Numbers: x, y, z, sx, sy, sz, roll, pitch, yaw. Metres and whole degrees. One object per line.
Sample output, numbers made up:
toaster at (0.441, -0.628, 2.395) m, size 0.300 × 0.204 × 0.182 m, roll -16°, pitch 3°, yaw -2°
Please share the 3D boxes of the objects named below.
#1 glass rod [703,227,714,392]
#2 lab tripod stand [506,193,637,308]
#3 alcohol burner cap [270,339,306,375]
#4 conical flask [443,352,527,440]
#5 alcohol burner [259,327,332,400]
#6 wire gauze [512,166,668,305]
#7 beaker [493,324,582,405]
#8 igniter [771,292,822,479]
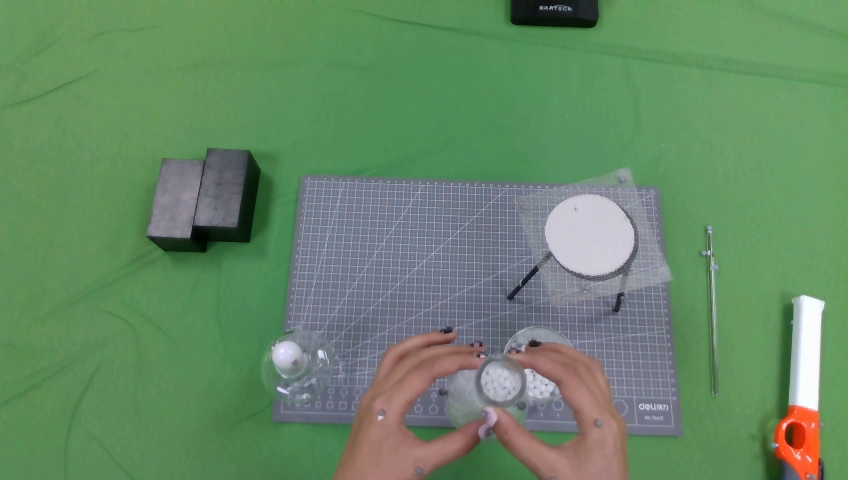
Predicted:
glass rod at (0.333, 0.077, 0.710) m, size 0.008 × 0.008 × 0.198 m, roll 7°, pitch 71°, yaw 2°
lab tripod stand at (0.164, 0.018, 0.660) m, size 0.148 × 0.132 × 0.147 m, roll 0°, pitch 72°, yaw 1°
alcohol burner cap at (-0.136, 0.113, 0.597) m, size 0.034 × 0.048 × 0.033 m, roll 2°, pitch 69°, yaw -5°
conical flask at (0.054, 0.121, 0.491) m, size 0.075 × 0.122 × 0.075 m, roll 0°, pitch 70°, yaw 0°
alcohol burner at (-0.137, 0.126, 0.631) m, size 0.078 × 0.120 × 0.077 m, roll 1°, pitch 72°, yaw -1°
wire gauze at (0.163, -0.005, 0.597) m, size 0.125 × 0.011 × 0.120 m, roll -14°, pitch 73°, yaw -4°
beaker at (0.114, 0.134, 0.638) m, size 0.084 × 0.101 × 0.073 m, roll 0°, pitch 71°, yaw -1°
igniter at (0.408, 0.191, 0.661) m, size 0.057 × 0.025 × 0.275 m, roll 17°, pitch 71°, yaw -5°
